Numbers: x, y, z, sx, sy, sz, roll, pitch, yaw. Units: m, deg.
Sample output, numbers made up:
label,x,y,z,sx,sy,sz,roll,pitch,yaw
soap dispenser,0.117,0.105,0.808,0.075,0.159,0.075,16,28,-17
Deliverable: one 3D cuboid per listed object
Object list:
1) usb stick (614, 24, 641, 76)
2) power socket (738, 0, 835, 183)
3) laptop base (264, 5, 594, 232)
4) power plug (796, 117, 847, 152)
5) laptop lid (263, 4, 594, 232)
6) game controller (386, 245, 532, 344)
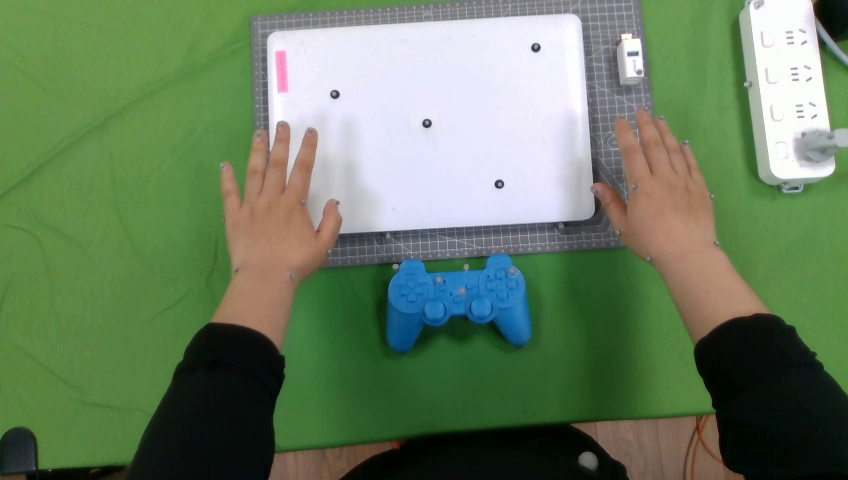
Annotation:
label,x,y,z,sx,sy,sz,roll,pitch,yaw
usb stick,0.225,-0.215,0.673,0.021,0.027,0.059,-5,81,4
power socket,0.395,-0.177,0.663,0.072,0.032,0.226,-3,83,2
laptop base,0.002,-0.136,0.676,0.354,0.023,0.235,-4,86,1
power plug,0.428,-0.107,0.634,0.072,0.053,0.035,8,82,-1
laptop lid,0.001,-0.135,0.664,0.357,0.013,0.241,-2,85,1
game controller,0.035,0.057,0.639,0.155,0.052,0.096,-4,79,1
